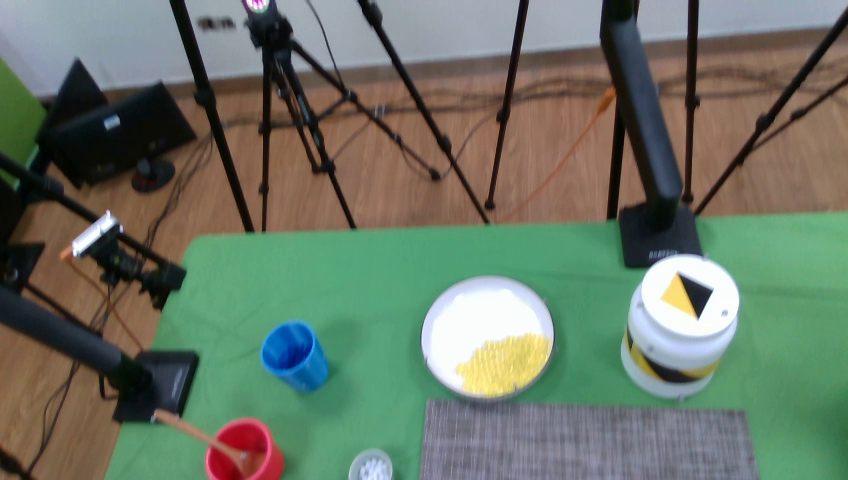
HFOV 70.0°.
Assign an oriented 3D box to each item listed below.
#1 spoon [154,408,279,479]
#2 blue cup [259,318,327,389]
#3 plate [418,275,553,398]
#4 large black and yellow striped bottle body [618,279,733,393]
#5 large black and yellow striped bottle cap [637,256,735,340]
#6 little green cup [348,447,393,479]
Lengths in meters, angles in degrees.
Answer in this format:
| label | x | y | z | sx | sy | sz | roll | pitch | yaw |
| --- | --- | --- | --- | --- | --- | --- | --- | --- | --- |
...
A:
| label | x | y | z | sx | sy | sz | roll | pitch | yaw |
| --- | --- | --- | --- | --- | --- | --- | --- | --- | --- |
| spoon | -0.293 | 0.286 | 0.861 | 0.195 | 0.021 | 0.041 | 37 | 58 | -18 |
| blue cup | -0.195 | 0.185 | 0.940 | 0.092 | 0.101 | 0.092 | -6 | 55 | 9 |
| plate | 0.095 | 0.151 | 0.948 | 0.209 | 0.038 | 0.207 | -5 | 55 | 7 |
| large black and yellow striped bottle body | 0.342 | 0.118 | 0.832 | 0.130 | 0.186 | 0.129 | -5 | 54 | 8 |
| large black and yellow striped bottle cap | 0.329 | 0.071 | 0.763 | 0.115 | 0.019 | 0.114 | -6 | 54 | 9 |
| little green cup | -0.072 | 0.327 | 0.854 | 0.061 | 0.039 | 0.061 | -5 | 55 | 8 |
